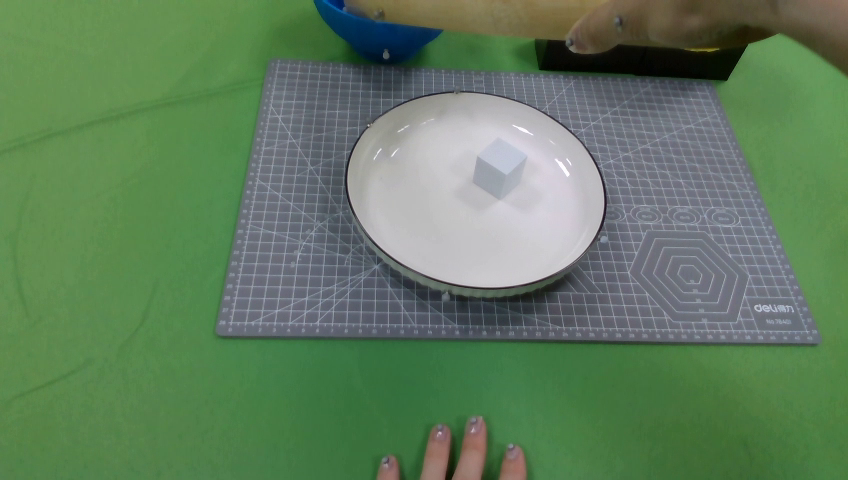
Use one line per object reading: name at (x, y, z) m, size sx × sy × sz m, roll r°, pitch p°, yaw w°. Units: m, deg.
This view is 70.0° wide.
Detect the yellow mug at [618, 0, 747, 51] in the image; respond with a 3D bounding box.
yellow mug at (0.246, -0.235, 0.577) m, size 0.131 × 0.064 × 0.099 m, roll -12°, pitch 56°, yaw -12°

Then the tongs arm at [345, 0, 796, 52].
tongs arm at (0.042, -0.151, 0.406) m, size 0.028 × 0.028 × 0.383 m, roll -36°, pitch 35°, yaw -20°

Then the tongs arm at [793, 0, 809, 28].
tongs arm at (0.068, -0.171, 0.415) m, size 0.051 × 0.027 × 0.381 m, roll -40°, pitch 36°, yaw -19°

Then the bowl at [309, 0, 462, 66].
bowl at (-0.038, -0.227, 0.595) m, size 0.151 × 0.077 × 0.150 m, roll 3°, pitch 59°, yaw -4°

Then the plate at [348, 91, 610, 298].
plate at (0.044, -0.038, 0.494) m, size 0.208 × 0.039 × 0.205 m, roll 3°, pitch 55°, yaw -3°
